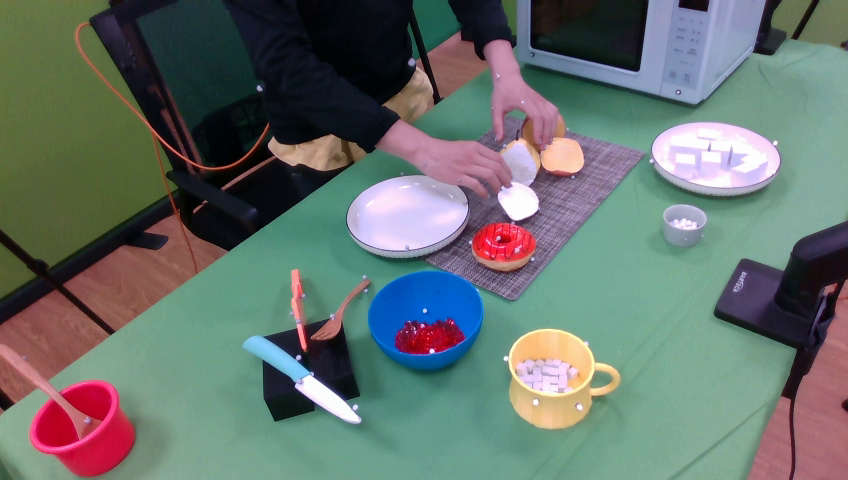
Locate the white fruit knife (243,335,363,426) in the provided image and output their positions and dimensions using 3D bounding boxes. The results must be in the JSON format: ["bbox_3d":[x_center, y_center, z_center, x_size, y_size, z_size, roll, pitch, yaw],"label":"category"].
[{"bbox_3d":[-0.148,0.166,0.730,0.206,0.016,0.027,26,80,31],"label":"white fruit knife"}]

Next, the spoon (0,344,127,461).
[{"bbox_3d":[-0.433,0.191,0.721,0.194,0.021,0.042,47,53,-6],"label":"spoon"}]

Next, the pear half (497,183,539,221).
[{"bbox_3d":[0.154,-0.057,1.006,0.070,0.031,0.088,13,51,7],"label":"pear half"}]

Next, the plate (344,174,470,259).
[{"bbox_3d":[-0.027,-0.036,1.004,0.209,0.038,0.208,-4,40,4],"label":"plate"}]

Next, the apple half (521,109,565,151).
[{"bbox_3d":[0.224,-0.212,1.145,0.080,0.075,0.053,-6,36,9],"label":"apple half"}]

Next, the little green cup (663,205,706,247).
[{"bbox_3d":[0.396,-0.021,0.926,0.061,0.039,0.061,-4,40,4],"label":"little green cup"}]

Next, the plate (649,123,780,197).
[{"bbox_3d":[0.497,-0.135,1.046,0.207,0.039,0.206,-4,40,4],"label":"plate"}]

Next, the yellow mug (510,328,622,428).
[{"bbox_3d":[0.168,0.164,0.721,0.130,0.064,0.099,0,40,8],"label":"yellow mug"}]

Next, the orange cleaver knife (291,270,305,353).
[{"bbox_3d":[-0.175,0.094,0.844,0.012,0.077,0.210,-11,14,-10],"label":"orange cleaver knife"}]

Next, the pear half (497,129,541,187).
[{"bbox_3d":[0.167,-0.151,1.053,0.076,0.110,0.056,8,43,13],"label":"pear half"}]

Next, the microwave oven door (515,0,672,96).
[{"bbox_3d":[0.343,-0.455,1.259,0.353,0.245,0.039,26,51,33],"label":"microwave oven door"}]

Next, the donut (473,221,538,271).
[{"bbox_3d":[0.123,0.008,0.923,0.099,0.048,0.098,-3,38,3],"label":"donut"}]

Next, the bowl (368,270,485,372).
[{"bbox_3d":[0.007,0.118,0.791,0.151,0.077,0.150,-5,40,4],"label":"bowl"}]

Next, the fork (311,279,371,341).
[{"bbox_3d":[-0.108,0.092,0.832,0.028,0.019,0.207,-6,19,15],"label":"fork"}]

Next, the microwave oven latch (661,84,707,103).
[{"bbox_3d":[0.517,-0.296,1.204,0.078,0.029,0.030,27,52,35],"label":"microwave oven latch"}]

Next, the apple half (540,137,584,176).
[{"bbox_3d":[0.247,-0.146,1.089,0.081,0.033,0.081,-1,65,4],"label":"apple half"}]

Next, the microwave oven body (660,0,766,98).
[{"bbox_3d":[0.472,-0.513,1.317,0.438,0.261,0.327,26,51,34],"label":"microwave oven body"}]
